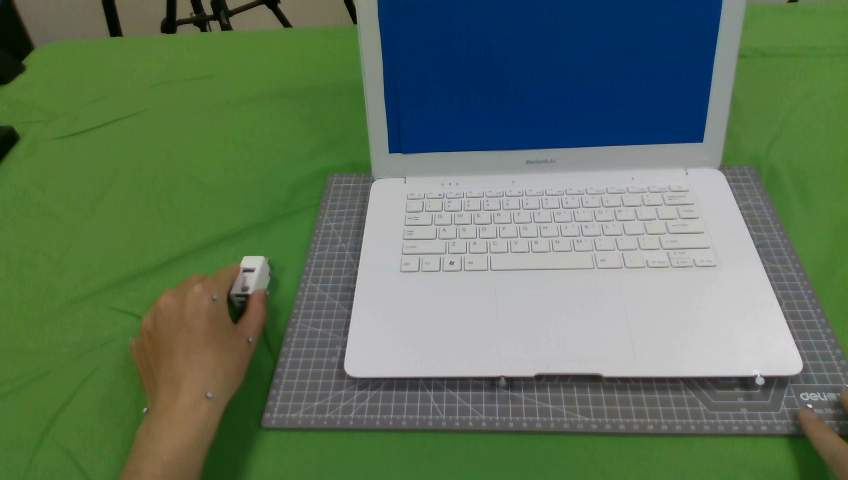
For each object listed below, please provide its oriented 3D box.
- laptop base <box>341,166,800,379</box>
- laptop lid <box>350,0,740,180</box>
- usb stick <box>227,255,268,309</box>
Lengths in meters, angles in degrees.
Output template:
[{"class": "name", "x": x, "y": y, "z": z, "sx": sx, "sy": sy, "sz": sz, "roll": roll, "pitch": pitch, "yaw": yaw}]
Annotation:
[{"class": "laptop base", "x": 0.113, "y": 0.022, "z": 0.545, "sx": 0.354, "sy": 0.023, "sz": 0.233, "roll": -1, "pitch": 49, "yaw": 4}, {"class": "laptop lid", "x": 0.110, "y": -0.170, "z": 0.574, "sx": 0.356, "sy": 0.243, "sz": 0.013, "roll": -3, "pitch": 25, "yaw": 4}, {"class": "usb stick", "x": -0.159, "y": 0.033, "z": 0.554, "sx": 0.021, "sy": 0.027, "sz": 0.058, "roll": -1, "pitch": 43, "yaw": 8}]
